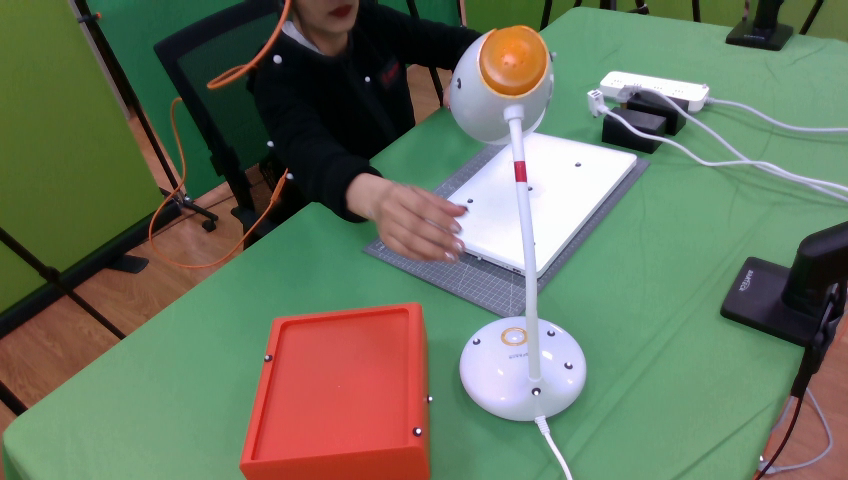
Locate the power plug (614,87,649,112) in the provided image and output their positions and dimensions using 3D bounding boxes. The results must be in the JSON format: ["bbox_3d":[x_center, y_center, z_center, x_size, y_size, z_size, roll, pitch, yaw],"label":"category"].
[{"bbox_3d":[0.406,-0.275,1.192,0.035,0.053,0.072,-15,24,-16],"label":"power plug"}]

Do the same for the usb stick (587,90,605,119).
[{"bbox_3d":[0.334,-0.258,1.171,0.021,0.059,0.027,-28,44,-4],"label":"usb stick"}]

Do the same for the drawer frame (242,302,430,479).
[{"bbox_3d":[-0.095,0.184,0.739,0.202,0.083,0.212,-7,40,3],"label":"drawer frame"}]

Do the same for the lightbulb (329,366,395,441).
[{"bbox_3d":[-0.080,0.196,0.738,0.060,0.060,0.107,-32,61,-25],"label":"lightbulb"}]

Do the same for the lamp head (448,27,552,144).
[{"bbox_3d":[0.082,-0.161,0.618,0.112,0.112,0.123,-10,2,0],"label":"lamp head"}]

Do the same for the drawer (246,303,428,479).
[{"bbox_3d":[-0.097,0.184,0.743,0.194,0.073,0.210,-6,41,3],"label":"drawer"}]

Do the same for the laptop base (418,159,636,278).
[{"bbox_3d":[0.185,-0.074,1.042,0.233,0.023,0.355,19,47,35],"label":"laptop base"}]

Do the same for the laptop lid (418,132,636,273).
[{"bbox_3d":[0.181,-0.084,1.036,0.239,0.013,0.358,22,49,35],"label":"laptop lid"}]

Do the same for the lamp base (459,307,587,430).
[{"bbox_3d":[0.118,0.107,0.713,0.161,0.181,0.178,-14,42,-6],"label":"lamp base"}]

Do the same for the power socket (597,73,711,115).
[{"bbox_3d":[0.469,-0.304,1.249,0.225,0.033,0.072,20,49,30],"label":"power socket"}]

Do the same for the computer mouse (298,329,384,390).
[{"bbox_3d":[-0.111,0.156,0.799,0.117,0.041,0.062,-15,41,1],"label":"computer mouse"}]
